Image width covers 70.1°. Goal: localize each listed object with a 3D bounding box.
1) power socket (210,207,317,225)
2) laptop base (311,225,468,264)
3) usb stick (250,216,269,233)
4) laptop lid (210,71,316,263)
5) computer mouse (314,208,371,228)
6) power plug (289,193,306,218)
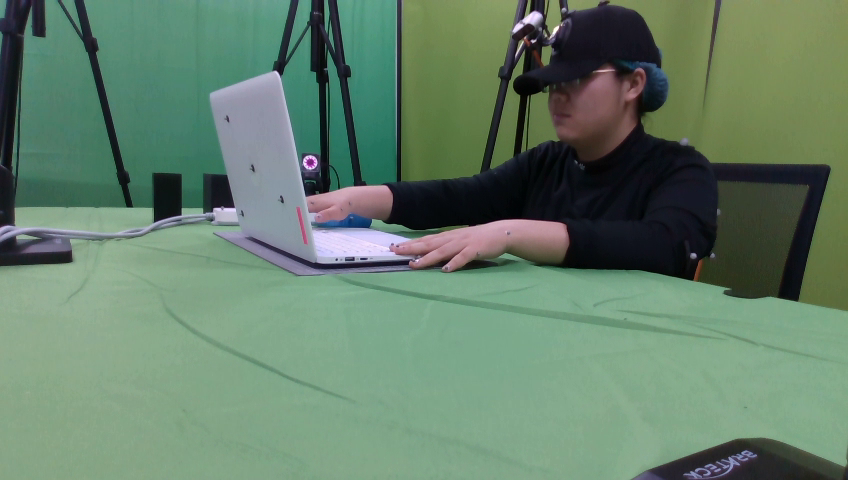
[{"bbox_3d":[-0.334,-0.051,1.280,0.228,0.032,0.072,-1,8,-28],"label":"power socket"},{"bbox_3d":[-0.123,0.006,0.951,0.237,0.023,0.352,3,6,-32],"label":"laptop base"},{"bbox_3d":[-0.290,-0.027,1.070,0.021,0.027,0.059,-1,12,-31],"label":"usb stick"},{"bbox_3d":[-0.241,-0.104,0.861,0.013,0.241,0.355,-16,17,-29],"label":"laptop lid"},{"bbox_3d":[-0.173,-0.046,1.284,0.118,0.041,0.062,-7,13,-29],"label":"computer mouse"},{"bbox_3d":[-0.281,-0.076,1.340,0.035,0.052,0.072,3,6,-17],"label":"power plug"}]
